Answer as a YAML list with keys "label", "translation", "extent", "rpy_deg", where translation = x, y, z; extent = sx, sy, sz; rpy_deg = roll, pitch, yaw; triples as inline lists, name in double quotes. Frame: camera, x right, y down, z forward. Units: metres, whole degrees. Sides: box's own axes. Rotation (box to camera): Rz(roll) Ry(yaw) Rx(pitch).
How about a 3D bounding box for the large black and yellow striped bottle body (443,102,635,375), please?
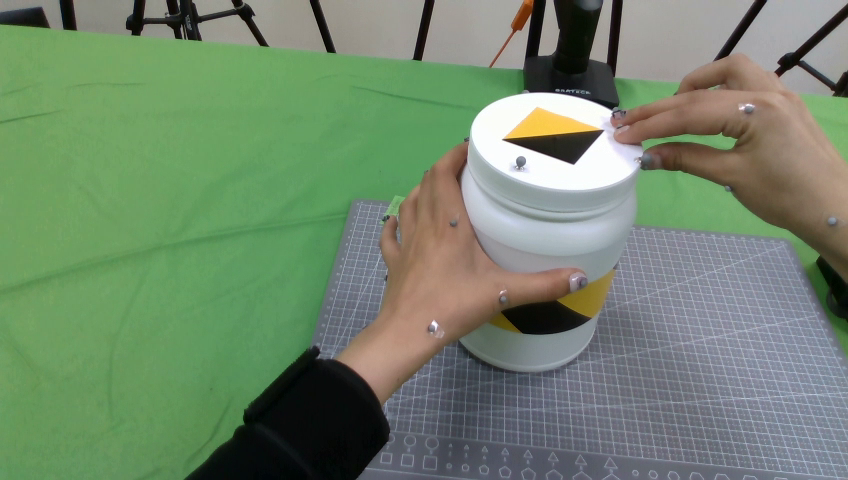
- label: "large black and yellow striped bottle body"
  translation: [0.084, 0.001, 0.466]
  extent: [0.131, 0.185, 0.129]
  rpy_deg: [2, 44, -1]

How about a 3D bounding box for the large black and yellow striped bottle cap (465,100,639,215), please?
- label: "large black and yellow striped bottle cap"
  translation: [0.085, -0.059, 0.408]
  extent: [0.115, 0.019, 0.114]
  rpy_deg: [2, 42, -2]
